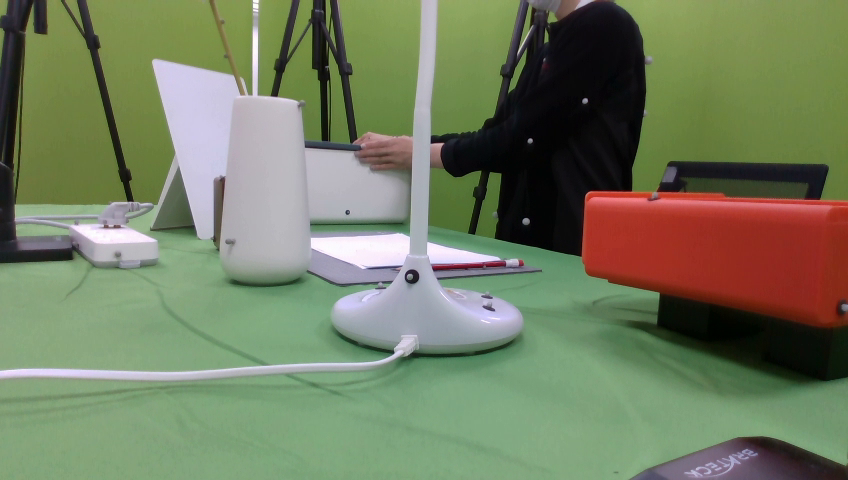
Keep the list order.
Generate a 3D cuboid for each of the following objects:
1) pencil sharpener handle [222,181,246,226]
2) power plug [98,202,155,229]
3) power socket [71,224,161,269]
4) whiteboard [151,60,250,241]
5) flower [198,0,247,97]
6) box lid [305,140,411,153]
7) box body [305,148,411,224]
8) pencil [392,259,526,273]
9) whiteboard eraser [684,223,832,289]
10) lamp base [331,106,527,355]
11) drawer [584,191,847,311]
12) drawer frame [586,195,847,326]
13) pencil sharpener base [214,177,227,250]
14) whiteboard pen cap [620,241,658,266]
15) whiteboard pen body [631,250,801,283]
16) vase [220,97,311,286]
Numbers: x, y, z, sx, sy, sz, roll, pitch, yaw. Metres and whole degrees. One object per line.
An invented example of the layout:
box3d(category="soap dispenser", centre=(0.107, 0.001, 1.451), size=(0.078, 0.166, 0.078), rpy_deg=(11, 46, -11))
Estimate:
box3d(category="pencil sharpener handle", centre=(-0.289, -0.055, 0.912), size=(0.036, 0.067, 0.030), rpy_deg=(-3, 9, -29))
box3d(category="power plug", centre=(-0.416, -0.027, 0.848), size=(0.073, 0.052, 0.035), rpy_deg=(0, 8, -28))
box3d(category="power socket", centre=(-0.408, 0.004, 0.793), size=(0.072, 0.032, 0.225), rpy_deg=(-2, 8, -38))
box3d(category="whiteboard", centre=(-0.408, -0.139, 1.093), size=(0.143, 0.305, 0.218), rpy_deg=(-15, 0, 25))
box3d(category="flower", centre=(-0.187, -0.133, 0.648), size=(0.038, 0.362, 0.044), rpy_deg=(0, 22, 43))
box3d(category="box lid", centre=(-0.231, -0.206, 1.358), size=(0.373, 0.015, 0.262), rpy_deg=(-2, 5, -31))
box3d(category="box body", centre=(-0.232, -0.126, 1.370), size=(0.366, 0.160, 0.253), rpy_deg=(-2, 8, -31))
box3d(category="pencil", centre=(0.049, 0.035, 0.782), size=(0.195, 0.012, 0.012), rpy_deg=(-3, 9, -25))
box3d(category="whiteboard eraser", centre=(0.305, 0.013, 0.558), size=(0.056, 0.042, 0.112), rpy_deg=(-9, 19, -31))
box3d(category="lamp base", centre=(0.006, -0.012, 0.478), size=(0.161, 0.180, 0.179), rpy_deg=(2, 10, 2))
box3d(category="drawer", centre=(0.280, 0.001, 0.513), size=(0.195, 0.073, 0.211), rpy_deg=(0, 8, -28))
box3d(category="drawer frame", centre=(0.284, 0.004, 0.508), size=(0.203, 0.082, 0.212), rpy_deg=(-1, 6, -28))
box3d(category="pencil sharpener base", centre=(-0.265, -0.036, 0.870), size=(0.061, 0.107, 0.076), rpy_deg=(-2, 8, -29))
box3d(category="whiteboard pen cap", centre=(0.199, 0.013, 0.557), size=(0.018, 0.018, 0.033), rpy_deg=(-4, 18, -40))
box3d(category="whiteboard pen body", centre=(0.240, 0.020, 0.512), size=(0.017, 0.017, 0.140), rpy_deg=(-4, 8, -41))
box3d(category="vase", centre=(-0.172, -0.052, 0.662), size=(0.098, 0.200, 0.098), rpy_deg=(3, 8, 0))
